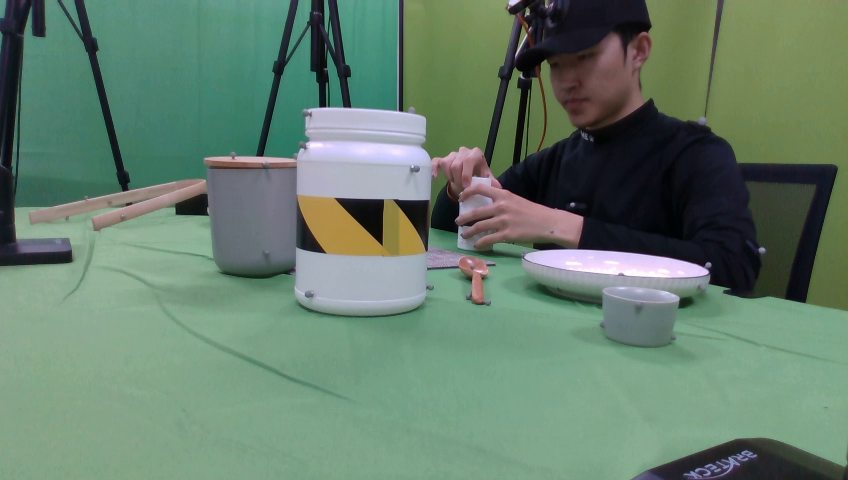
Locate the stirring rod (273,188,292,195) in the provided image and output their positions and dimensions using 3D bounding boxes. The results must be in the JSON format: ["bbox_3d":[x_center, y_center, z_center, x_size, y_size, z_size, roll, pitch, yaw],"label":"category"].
[{"bbox_3d":[-0.354,-0.122,1.519,0.006,0.014,0.176,2,6,1],"label":"stirring rod"}]

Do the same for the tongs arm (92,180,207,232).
[{"bbox_3d":[-0.534,-0.076,1.221,0.028,0.028,0.388,-2,15,12],"label":"tongs arm"}]

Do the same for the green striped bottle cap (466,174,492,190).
[{"bbox_3d":[0.092,-0.094,1.011,0.044,0.020,0.044,2,-18,1],"label":"green striped bottle cap"}]

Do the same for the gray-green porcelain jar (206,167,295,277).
[{"bbox_3d":[-0.201,-0.024,0.724,0.106,0.126,0.106,-1,9,1],"label":"gray-green porcelain jar"}]

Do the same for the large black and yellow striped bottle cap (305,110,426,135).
[{"bbox_3d":[-0.055,-0.110,0.574,0.115,0.019,0.115,1,7,0],"label":"large black and yellow striped bottle cap"}]

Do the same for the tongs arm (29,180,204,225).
[{"bbox_3d":[-0.609,-0.083,1.245,0.050,0.026,0.386,5,16,23],"label":"tongs arm"}]

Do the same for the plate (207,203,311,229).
[{"bbox_3d":[-0.342,-0.050,1.259,0.208,0.039,0.207,3,7,0],"label":"plate"}]

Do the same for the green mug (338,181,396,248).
[{"bbox_3d":[-0.097,-0.044,0.995,0.093,0.105,0.125,-1,8,-21],"label":"green mug"}]

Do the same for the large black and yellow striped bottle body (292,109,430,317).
[{"bbox_3d":[-0.060,-0.028,0.585,0.131,0.184,0.130,3,7,0],"label":"large black and yellow striped bottle body"}]

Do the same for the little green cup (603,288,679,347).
[{"bbox_3d":[0.180,0.064,0.505,0.061,0.038,0.061,2,7,0],"label":"little green cup"}]

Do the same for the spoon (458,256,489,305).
[{"bbox_3d":[0.059,0.044,0.696,0.041,0.021,0.193,22,7,0],"label":"spoon"}]

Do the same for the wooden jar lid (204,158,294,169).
[{"bbox_3d":[-0.202,-0.086,0.714,0.108,0.020,0.108,3,11,0],"label":"wooden jar lid"}]

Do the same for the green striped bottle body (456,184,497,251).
[{"bbox_3d":[0.090,-0.044,1.023,0.063,0.119,0.063,4,8,0],"label":"green striped bottle body"}]

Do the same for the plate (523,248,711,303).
[{"bbox_3d":[0.219,0.041,0.706,0.209,0.038,0.209,2,7,0],"label":"plate"}]
